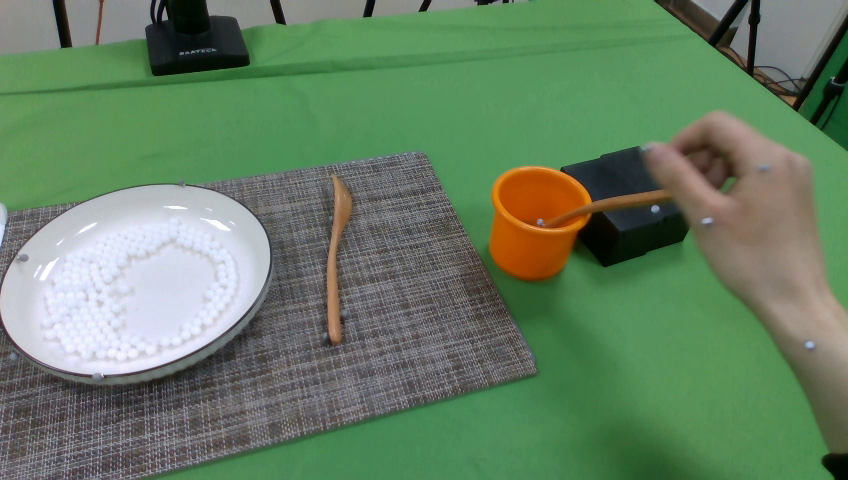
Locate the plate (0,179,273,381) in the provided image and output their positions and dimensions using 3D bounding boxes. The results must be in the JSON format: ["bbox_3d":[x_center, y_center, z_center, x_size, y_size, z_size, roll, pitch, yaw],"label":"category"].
[{"bbox_3d":[-0.231,0.030,0.508,0.209,0.038,0.207,3,46,-3],"label":"plate"}]

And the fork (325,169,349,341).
[{"bbox_3d":[-0.082,0.006,0.560,0.018,0.028,0.205,-20,47,18],"label":"fork"}]

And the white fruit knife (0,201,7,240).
[{"bbox_3d":[-0.381,0.035,0.504,0.027,0.016,0.205,17,37,-30],"label":"white fruit knife"}]

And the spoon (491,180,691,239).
[{"bbox_3d":[0.137,-0.027,0.531,0.041,0.193,0.022,-41,106,-40],"label":"spoon"}]
